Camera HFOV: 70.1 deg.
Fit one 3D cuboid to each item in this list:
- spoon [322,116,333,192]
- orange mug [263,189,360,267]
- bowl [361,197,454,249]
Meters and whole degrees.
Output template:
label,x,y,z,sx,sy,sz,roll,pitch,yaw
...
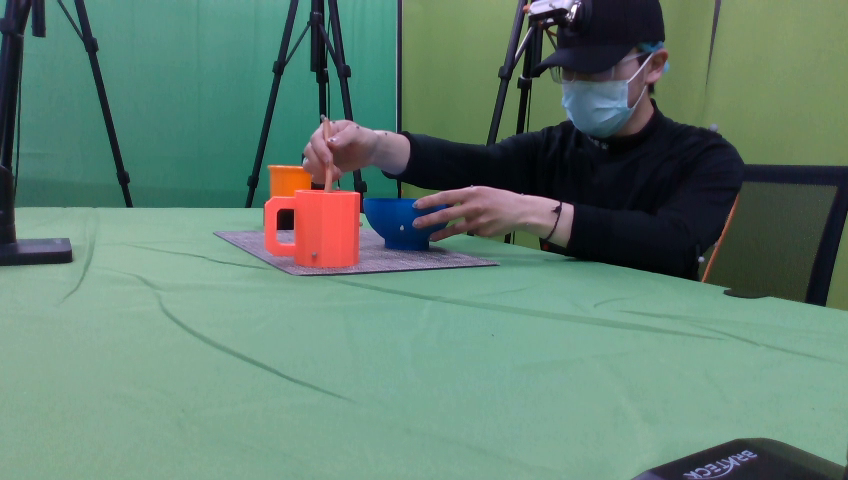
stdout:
label,x,y,z,sx,sy,sz,roll,pitch,yaw
spoon,-0.132,-0.080,0.815,0.042,0.193,0.021,6,-14,-21
orange mug,-0.147,-0.019,0.794,0.127,0.100,0.083,5,6,-20
bowl,-0.028,-0.028,0.989,0.151,0.077,0.151,2,7,0
